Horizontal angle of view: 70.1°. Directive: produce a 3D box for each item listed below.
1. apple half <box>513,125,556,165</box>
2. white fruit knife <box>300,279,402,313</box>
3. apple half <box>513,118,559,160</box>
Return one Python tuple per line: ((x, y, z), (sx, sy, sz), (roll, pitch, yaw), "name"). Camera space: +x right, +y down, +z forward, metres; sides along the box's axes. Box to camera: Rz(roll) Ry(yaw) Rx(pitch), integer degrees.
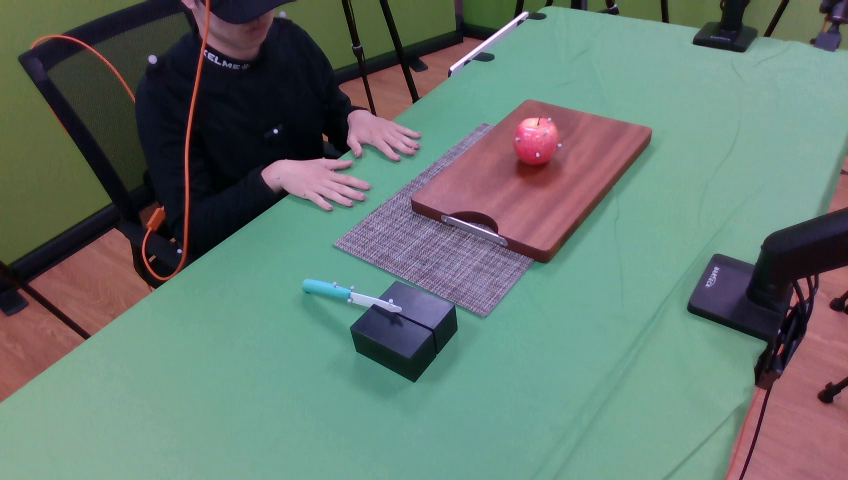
((0.185, -0.157, 1.041), (0.081, 0.081, 0.033), (14, 41, 24), "apple half")
((-0.107, 0.078, 0.847), (0.205, 0.027, 0.016), (8, 41, 38), "white fruit knife")
((0.203, -0.180, 1.067), (0.080, 0.075, 0.053), (12, 40, 26), "apple half")
